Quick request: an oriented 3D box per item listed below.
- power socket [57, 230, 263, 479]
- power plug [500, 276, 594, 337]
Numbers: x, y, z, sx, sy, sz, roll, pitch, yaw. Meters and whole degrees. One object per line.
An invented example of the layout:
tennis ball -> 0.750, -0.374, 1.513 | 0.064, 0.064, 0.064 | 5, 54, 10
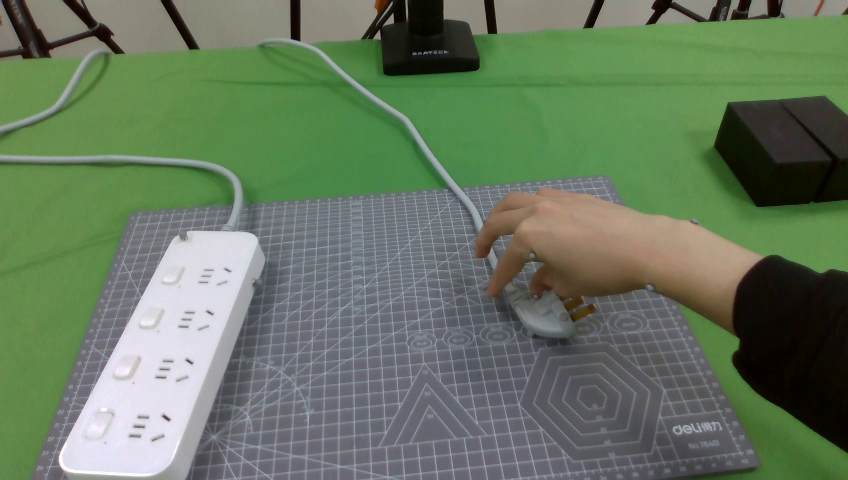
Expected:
power socket -> -0.173, 0.072, 0.427 | 0.072, 0.033, 0.224 | 3, 43, 3
power plug -> 0.090, 0.040, 0.450 | 0.052, 0.035, 0.072 | -24, 56, 0
